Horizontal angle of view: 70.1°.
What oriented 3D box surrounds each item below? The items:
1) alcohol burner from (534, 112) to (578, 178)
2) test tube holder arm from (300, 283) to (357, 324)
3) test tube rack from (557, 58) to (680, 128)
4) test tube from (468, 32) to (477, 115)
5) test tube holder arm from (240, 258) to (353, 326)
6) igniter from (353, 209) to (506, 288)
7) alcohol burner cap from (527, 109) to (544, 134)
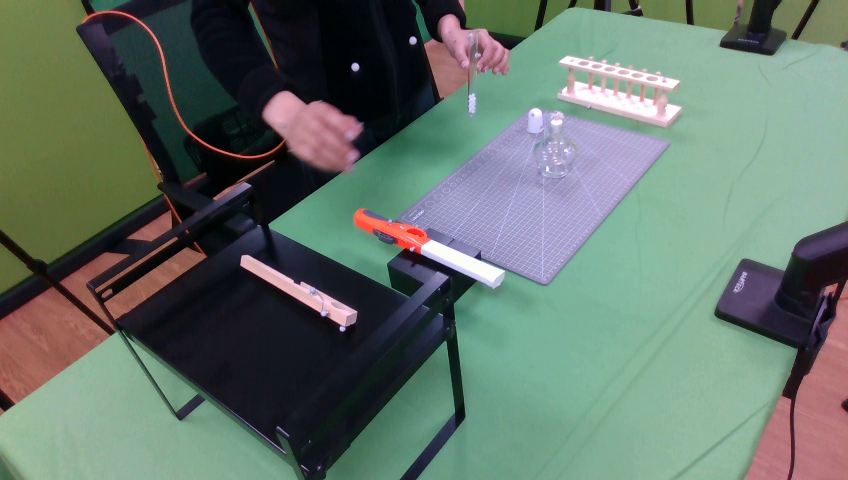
[{"bbox_3d":[0.232,-0.170,1.065,0.078,0.119,0.077,-5,39,5],"label":"alcohol burner"},{"bbox_3d":[-0.105,0.066,0.638,0.087,0.015,0.010,21,14,33],"label":"test tube holder arm"},{"bbox_3d":[0.395,-0.309,1.230,0.240,0.085,0.067,25,50,33],"label":"test tube rack"},{"bbox_3d":[0.086,-0.291,1.067,0.017,0.151,0.017,-2,38,2],"label":"test tube"},{"bbox_3d":[-0.143,0.053,0.658,0.177,0.015,0.013,21,14,32],"label":"test tube holder arm"},{"bbox_3d":[-0.003,0.006,0.892,0.274,0.025,0.057,24,37,31],"label":"igniter"},{"bbox_3d":[0.222,-0.238,1.203,0.034,0.048,0.033,-5,41,5],"label":"alcohol burner cap"}]
